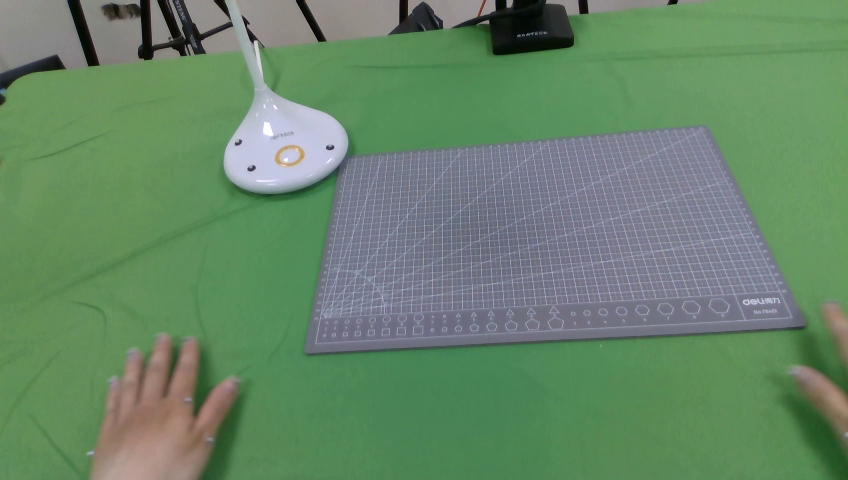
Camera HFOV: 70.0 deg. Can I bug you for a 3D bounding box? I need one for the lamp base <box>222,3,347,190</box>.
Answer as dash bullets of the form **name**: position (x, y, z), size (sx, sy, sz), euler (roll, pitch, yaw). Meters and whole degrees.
- **lamp base**: position (-0.194, -0.179, 0.730), size (0.161, 0.182, 0.177), euler (-26, 45, -15)
